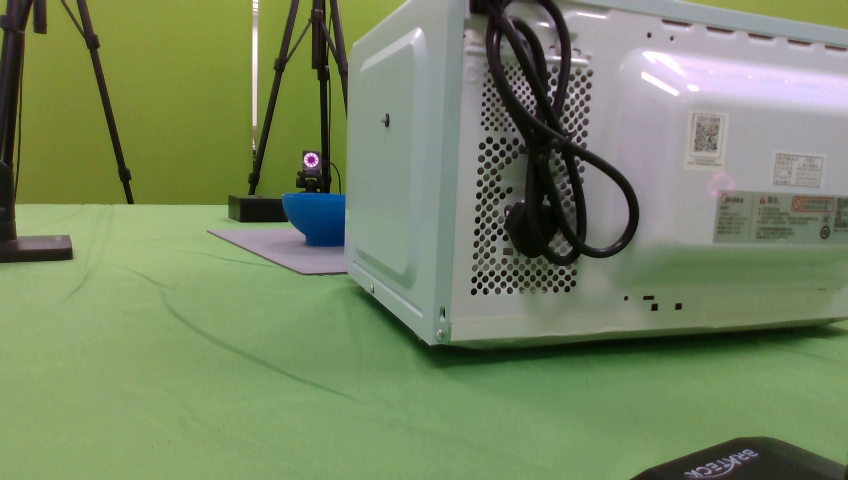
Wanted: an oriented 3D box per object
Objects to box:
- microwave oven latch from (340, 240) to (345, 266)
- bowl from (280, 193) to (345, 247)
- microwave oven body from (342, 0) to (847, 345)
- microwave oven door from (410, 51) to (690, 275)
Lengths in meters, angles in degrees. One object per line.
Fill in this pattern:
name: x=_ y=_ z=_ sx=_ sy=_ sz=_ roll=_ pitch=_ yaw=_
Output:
microwave oven latch: x=-0.052 y=0.016 z=0.662 sx=0.079 sy=0.029 sz=0.030 roll=1 pitch=7 yaw=-19
bowl: x=-0.153 y=-0.032 z=0.970 sx=0.151 sy=0.077 sz=0.151 roll=3 pitch=7 yaw=0
microwave oven body: x=0.169 y=-0.060 z=0.573 sx=0.444 sy=0.260 sz=0.324 roll=1 pitch=7 yaw=-20
microwave oven door: x=0.161 y=-0.084 z=0.723 sx=0.357 sy=0.243 sz=0.039 roll=0 pitch=8 yaw=-20
